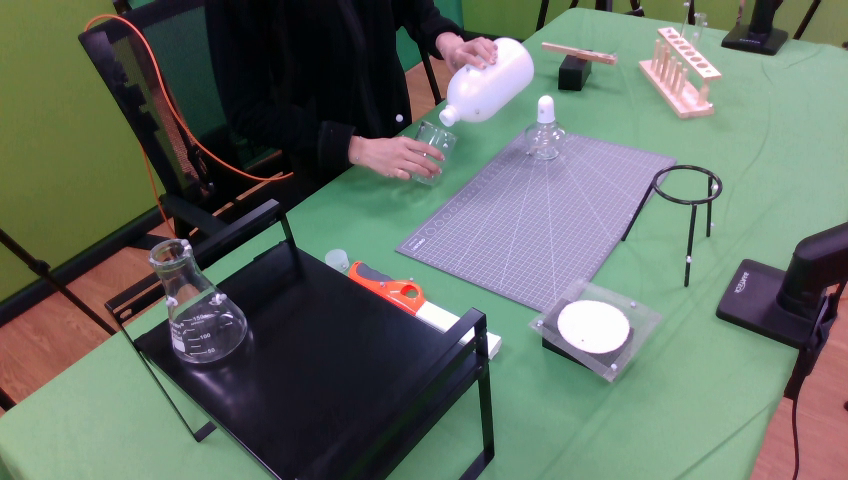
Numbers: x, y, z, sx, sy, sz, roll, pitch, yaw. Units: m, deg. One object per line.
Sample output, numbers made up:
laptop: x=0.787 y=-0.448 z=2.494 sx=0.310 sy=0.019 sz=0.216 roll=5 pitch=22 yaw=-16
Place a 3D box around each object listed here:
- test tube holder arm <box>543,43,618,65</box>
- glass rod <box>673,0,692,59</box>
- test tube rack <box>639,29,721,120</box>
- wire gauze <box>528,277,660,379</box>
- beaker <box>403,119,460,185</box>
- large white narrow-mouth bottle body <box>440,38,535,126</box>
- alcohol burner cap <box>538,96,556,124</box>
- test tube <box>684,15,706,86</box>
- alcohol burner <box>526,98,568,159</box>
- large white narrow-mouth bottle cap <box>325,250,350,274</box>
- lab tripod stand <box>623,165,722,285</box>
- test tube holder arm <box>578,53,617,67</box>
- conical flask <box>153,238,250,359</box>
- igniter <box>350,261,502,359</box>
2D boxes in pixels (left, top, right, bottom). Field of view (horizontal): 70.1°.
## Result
test tube holder arm: x=0.344 y=-0.413 z=1.340 sx=0.177 sy=0.015 sz=0.013 roll=25 pitch=51 yaw=31
glass rod: x=0.537 y=-0.437 z=1.257 sx=0.008 sy=0.200 sz=0.008 roll=0 pitch=39 yaw=1
test tube rack: x=0.527 y=-0.351 z=1.262 sx=0.067 sy=0.085 sz=0.241 roll=-8 pitch=40 yaw=1
wire gauze: x=0.213 y=0.103 z=0.763 sx=0.124 sy=0.011 sz=0.122 roll=30 pitch=52 yaw=35
beaker: x=0.013 y=-0.156 z=1.087 sx=0.073 sy=0.100 sz=0.084 roll=34 pitch=15 yaw=33
large white narrow-mouth bottle body: x=0.106 y=-0.276 z=1.104 sx=0.195 sy=0.102 sz=0.101 roll=-42 pitch=50 yaw=-16
alcohol burner cap: x=0.222 y=-0.237 z=1.095 sx=0.034 sy=0.048 sz=0.033 roll=-6 pitch=35 yaw=5
test tube: x=0.541 y=-0.378 z=1.215 sx=0.017 sy=0.151 sz=0.017 roll=-2 pitch=44 yaw=3
alcohol burner: x=0.228 y=-0.210 z=1.118 sx=0.078 sy=0.119 sz=0.077 roll=-5 pitch=43 yaw=5
large white narrow-mouth bottle cap: x=-0.138 y=0.035 z=0.966 sx=0.038 sy=0.024 sz=0.037 roll=-4 pitch=41 yaw=4
lab tripod stand: x=0.365 y=-0.030 z=0.874 sx=0.148 sy=0.132 sz=0.147 roll=-6 pitch=41 yaw=6
test tube holder arm: x=0.376 y=-0.393 z=1.314 sx=0.087 sy=0.015 sz=0.010 roll=26 pitch=51 yaw=32
conical flask: x=-0.225 y=0.055 z=0.597 sx=0.075 sy=0.122 sz=0.075 roll=-5 pitch=41 yaw=4
igniter: x=-0.009 y=0.094 z=0.870 sx=0.274 sy=0.025 sz=0.057 roll=25 pitch=61 yaw=33
